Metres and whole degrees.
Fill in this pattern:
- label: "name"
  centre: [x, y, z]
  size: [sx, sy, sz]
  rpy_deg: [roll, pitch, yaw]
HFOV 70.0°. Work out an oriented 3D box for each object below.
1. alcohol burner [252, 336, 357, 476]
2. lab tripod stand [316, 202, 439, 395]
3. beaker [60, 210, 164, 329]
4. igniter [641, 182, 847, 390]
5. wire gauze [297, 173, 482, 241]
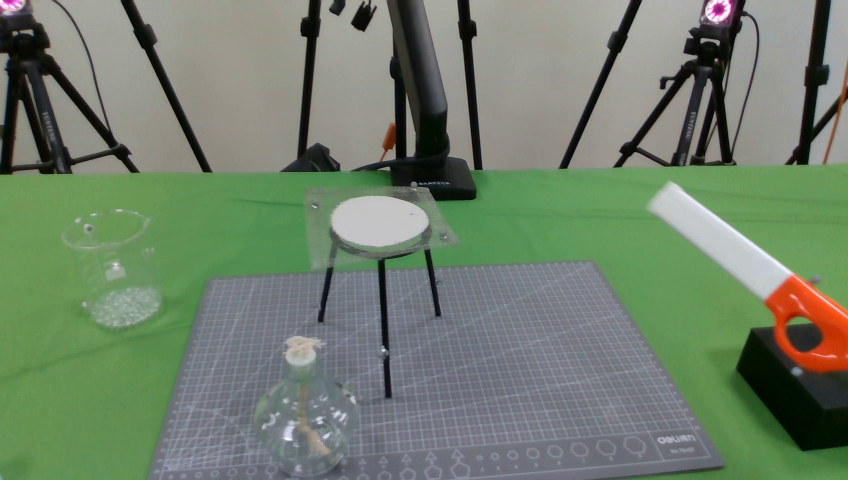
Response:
- label: "alcohol burner"
  centre: [-0.089, 0.118, 0.453]
  size: [0.078, 0.120, 0.077]
  rpy_deg: [3, 31, -2]
- label: "lab tripod stand"
  centre: [-0.039, 0.045, 0.557]
  size: [0.148, 0.132, 0.147]
  rpy_deg: [3, 33, -2]
- label: "beaker"
  centre: [-0.301, 0.030, 0.601]
  size: [0.073, 0.101, 0.084]
  rpy_deg: [28, 39, 34]
- label: "igniter"
  centre: [0.257, 0.044, 0.429]
  size: [0.025, 0.057, 0.273]
  rpy_deg: [23, 22, -43]
- label: "wire gauze"
  centre: [-0.031, -0.029, 0.517]
  size: [0.125, 0.011, 0.120]
  rpy_deg: [-10, 29, -32]
